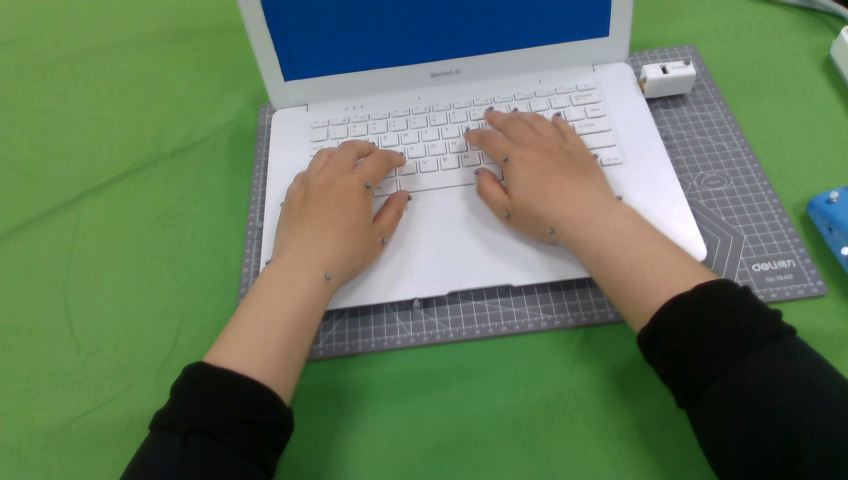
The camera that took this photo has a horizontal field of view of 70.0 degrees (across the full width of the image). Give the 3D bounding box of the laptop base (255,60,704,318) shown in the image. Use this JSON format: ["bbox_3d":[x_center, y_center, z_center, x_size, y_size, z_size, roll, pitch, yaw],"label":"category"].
[{"bbox_3d":[0.032,-0.054,0.535,0.354,0.023,0.233,-8,58,2],"label":"laptop base"}]

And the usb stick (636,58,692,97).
[{"bbox_3d":[0.215,-0.151,0.564,0.059,0.027,0.021,-8,55,6],"label":"usb stick"}]

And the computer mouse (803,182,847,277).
[{"bbox_3d":[0.338,-0.001,0.448,0.063,0.041,0.116,-11,50,3],"label":"computer mouse"}]

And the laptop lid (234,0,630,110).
[{"bbox_3d":[0.007,-0.236,0.524,0.357,0.244,0.013,-9,42,3],"label":"laptop lid"}]

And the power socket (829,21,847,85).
[{"bbox_3d":[0.425,-0.117,0.520,0.072,0.033,0.224,-4,55,5],"label":"power socket"}]
